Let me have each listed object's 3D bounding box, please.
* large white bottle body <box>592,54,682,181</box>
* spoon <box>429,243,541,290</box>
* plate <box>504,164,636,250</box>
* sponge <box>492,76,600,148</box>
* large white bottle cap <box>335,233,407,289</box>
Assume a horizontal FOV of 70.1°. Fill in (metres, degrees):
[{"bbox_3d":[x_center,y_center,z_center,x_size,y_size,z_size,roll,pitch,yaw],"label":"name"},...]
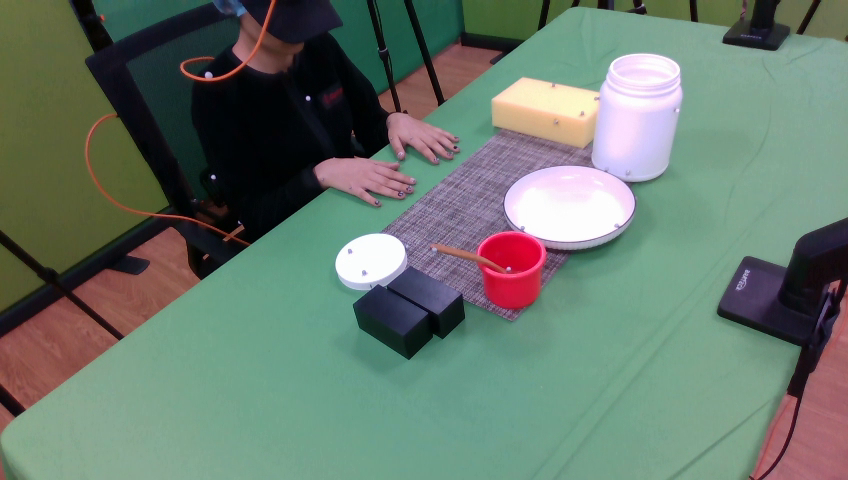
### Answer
[{"bbox_3d":[0.360,-0.208,1.027,0.130,0.185,0.130,-3,41,3],"label":"large white bottle body"},{"bbox_3d":[0.086,0.033,0.826,0.195,0.021,0.041,23,27,-33],"label":"spoon"},{"bbox_3d":[0.234,-0.051,0.981,0.209,0.038,0.208,-5,40,5],"label":"plate"},{"bbox_3d":[0.254,-0.258,1.207,0.205,0.061,0.118,22,47,31],"label":"sponge"},{"bbox_3d":[-0.084,0.032,0.961,0.115,0.018,0.114,-6,41,6],"label":"large white bottle cap"}]
